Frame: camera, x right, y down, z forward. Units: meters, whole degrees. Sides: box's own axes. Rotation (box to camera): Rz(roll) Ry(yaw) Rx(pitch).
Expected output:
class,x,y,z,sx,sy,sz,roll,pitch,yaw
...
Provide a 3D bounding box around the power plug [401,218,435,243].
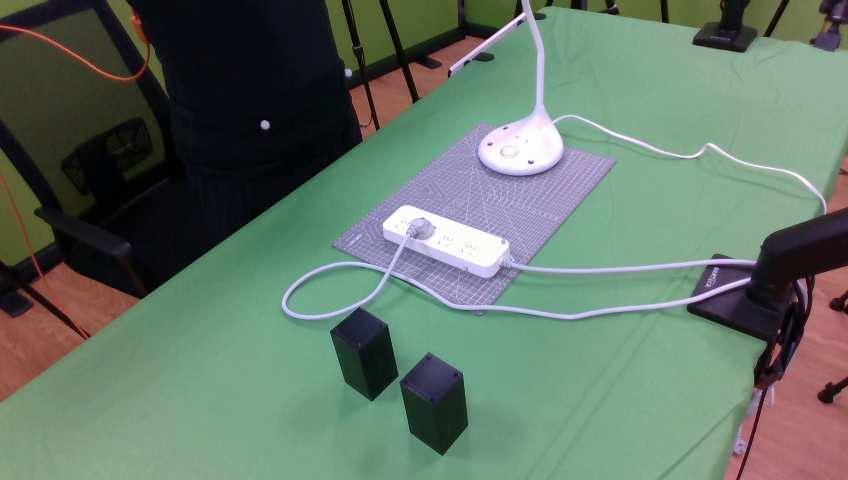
class,x,y,z,sx,sy,sz,roll,pitch,yaw
power plug,-0.014,-0.005,0.937,0.073,0.053,0.035,-37,46,-27

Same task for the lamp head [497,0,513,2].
class,x,y,z,sx,sy,sz,roll,pitch,yaw
lamp head,0.120,-0.420,0.861,0.111,0.113,0.123,24,72,32

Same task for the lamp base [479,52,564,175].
class,x,y,z,sx,sy,sz,roll,pitch,yaw
lamp base,0.181,-0.236,1.095,0.159,0.181,0.179,19,44,28

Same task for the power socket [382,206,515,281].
class,x,y,z,sx,sy,sz,roll,pitch,yaw
power socket,0.032,0.002,0.950,0.225,0.033,0.072,21,49,29
